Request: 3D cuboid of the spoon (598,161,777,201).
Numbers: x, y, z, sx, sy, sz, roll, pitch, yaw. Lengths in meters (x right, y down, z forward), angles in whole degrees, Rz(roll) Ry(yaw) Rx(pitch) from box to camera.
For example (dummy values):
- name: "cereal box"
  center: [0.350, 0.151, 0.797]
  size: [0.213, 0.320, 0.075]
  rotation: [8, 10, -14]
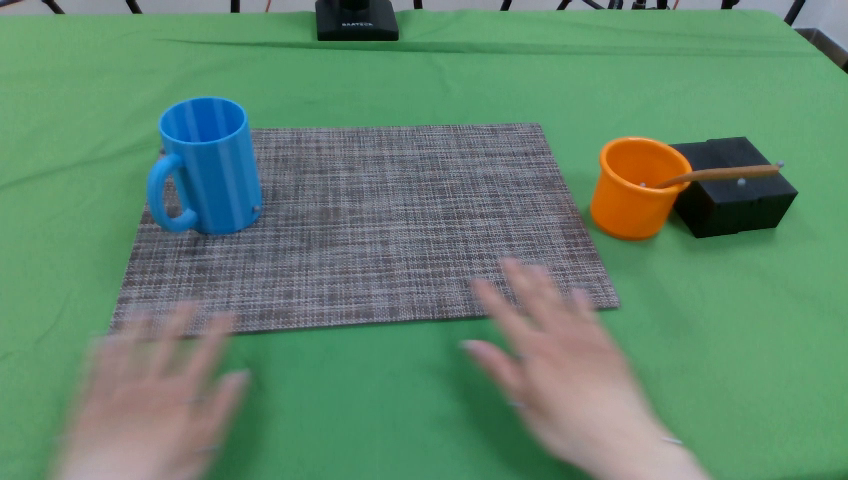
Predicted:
- name: "spoon"
  center: [0.245, -0.059, 0.587]
  size: [0.042, 0.193, 0.021]
  rotation: [-20, 94, -27]

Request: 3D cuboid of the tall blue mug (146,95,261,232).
- name: "tall blue mug"
  center: [-0.203, -0.061, 0.569]
  size: [0.078, 0.109, 0.106]
  rotation: [4, 45, -3]
